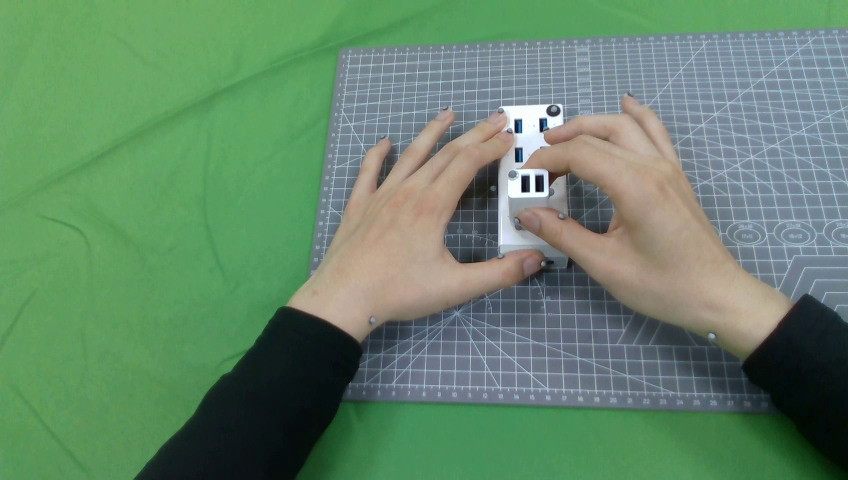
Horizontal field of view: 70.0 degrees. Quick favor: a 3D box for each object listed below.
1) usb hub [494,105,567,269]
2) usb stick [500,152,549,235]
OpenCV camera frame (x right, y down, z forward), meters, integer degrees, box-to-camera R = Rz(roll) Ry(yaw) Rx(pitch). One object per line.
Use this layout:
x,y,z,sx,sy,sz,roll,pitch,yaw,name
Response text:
0.076,-0.040,0.437,0.049,0.025,0.124,0,66,6,usb hub
0.064,-0.031,0.386,0.027,0.060,0.021,-24,56,-9,usb stick
